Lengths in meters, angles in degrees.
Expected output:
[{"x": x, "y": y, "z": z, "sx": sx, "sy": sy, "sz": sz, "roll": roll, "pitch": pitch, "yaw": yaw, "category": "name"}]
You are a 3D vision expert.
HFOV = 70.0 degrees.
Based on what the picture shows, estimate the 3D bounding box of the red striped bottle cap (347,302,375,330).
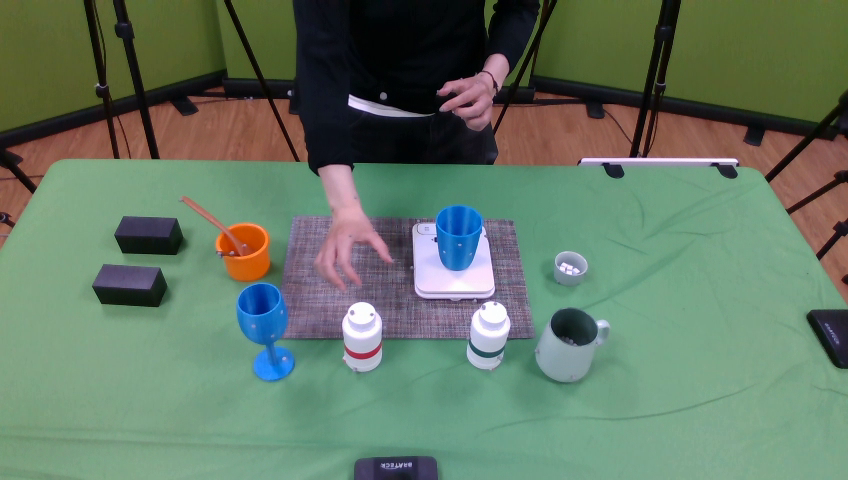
[{"x": -0.098, "y": 0.116, "z": 0.934, "sx": 0.044, "sy": 0.018, "sz": 0.044, "roll": 3, "pitch": 48, "yaw": -3, "category": "red striped bottle cap"}]

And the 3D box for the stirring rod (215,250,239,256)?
[{"x": -0.339, "y": 0.024, "z": 1.059, "sx": 0.014, "sy": 0.176, "sz": 0.006, "roll": 18, "pitch": 86, "yaw": -6, "category": "stirring rod"}]

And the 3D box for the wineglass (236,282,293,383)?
[{"x": -0.243, "y": 0.143, "z": 0.934, "sx": 0.074, "sy": 0.173, "sz": 0.073, "roll": 2, "pitch": 46, "yaw": -2, "category": "wineglass"}]

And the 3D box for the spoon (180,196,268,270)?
[{"x": -0.360, "y": -0.014, "z": 1.094, "sx": 0.021, "sy": 0.194, "sz": 0.041, "roll": -27, "pitch": 26, "yaw": 31, "category": "spoon"}]

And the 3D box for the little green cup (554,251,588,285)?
[{"x": 0.277, "y": 0.055, "z": 1.151, "sx": 0.061, "sy": 0.039, "sz": 0.061, "roll": 1, "pitch": 46, "yaw": -1, "category": "little green cup"}]

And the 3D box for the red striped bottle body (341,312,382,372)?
[{"x": -0.100, "y": 0.154, "z": 0.972, "sx": 0.063, "sy": 0.120, "sz": 0.062, "roll": 2, "pitch": 46, "yaw": -1, "category": "red striped bottle body"}]

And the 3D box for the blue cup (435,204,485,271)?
[{"x": 0.061, "y": 0.001, "z": 1.097, "sx": 0.092, "sy": 0.101, "sz": 0.092, "roll": 1, "pitch": 44, "yaw": 0, "category": "blue cup"}]

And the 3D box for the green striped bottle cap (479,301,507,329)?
[{"x": 0.109, "y": 0.118, "z": 0.950, "sx": 0.044, "sy": 0.020, "sz": 0.044, "roll": 2, "pitch": 47, "yaw": -2, "category": "green striped bottle cap"}]

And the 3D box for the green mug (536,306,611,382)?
[{"x": 0.250, "y": 0.167, "z": 0.996, "sx": 0.125, "sy": 0.105, "sz": 0.092, "roll": -15, "pitch": 48, "yaw": -19, "category": "green mug"}]

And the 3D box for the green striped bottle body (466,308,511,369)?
[{"x": 0.106, "y": 0.154, "z": 0.988, "sx": 0.063, "sy": 0.120, "sz": 0.063, "roll": 2, "pitch": 46, "yaw": -2, "category": "green striped bottle body"}]

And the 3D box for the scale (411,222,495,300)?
[{"x": 0.052, "y": 0.031, "z": 1.158, "sx": 0.149, "sy": 0.032, "sz": 0.199, "roll": 1, "pitch": 46, "yaw": -4, "category": "scale"}]
